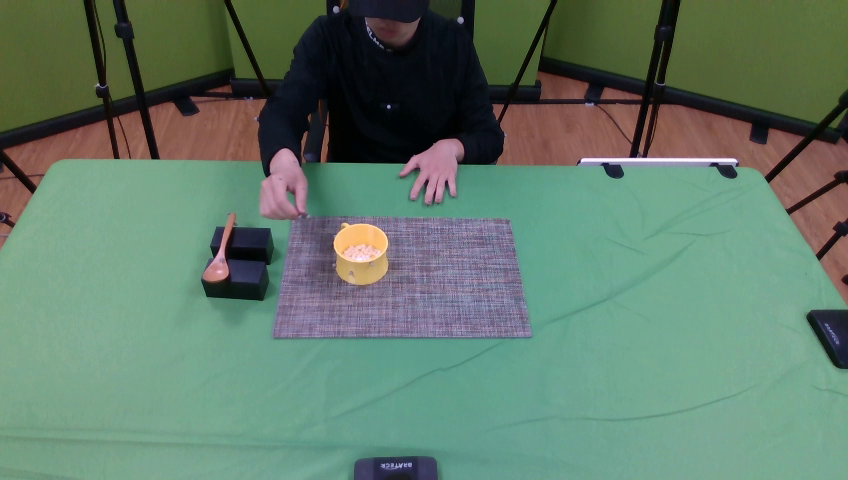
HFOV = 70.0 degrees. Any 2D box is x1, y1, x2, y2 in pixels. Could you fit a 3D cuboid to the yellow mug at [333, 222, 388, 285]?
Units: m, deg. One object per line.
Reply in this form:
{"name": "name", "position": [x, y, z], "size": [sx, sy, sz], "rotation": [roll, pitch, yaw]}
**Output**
{"name": "yellow mug", "position": [-0.126, 0.016, 1.139], "size": [0.100, 0.064, 0.130], "rotation": [-24, 51, -24]}

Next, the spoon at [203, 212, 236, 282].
{"name": "spoon", "position": [-0.361, 0.009, 1.097], "size": [0.041, 0.022, 0.192], "rotation": [0, 44, -3]}

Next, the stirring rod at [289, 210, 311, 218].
{"name": "stirring rod", "position": [-0.217, -0.045, 1.052], "size": [0.006, 0.014, 0.175], "rotation": [-46, 17, -13]}
